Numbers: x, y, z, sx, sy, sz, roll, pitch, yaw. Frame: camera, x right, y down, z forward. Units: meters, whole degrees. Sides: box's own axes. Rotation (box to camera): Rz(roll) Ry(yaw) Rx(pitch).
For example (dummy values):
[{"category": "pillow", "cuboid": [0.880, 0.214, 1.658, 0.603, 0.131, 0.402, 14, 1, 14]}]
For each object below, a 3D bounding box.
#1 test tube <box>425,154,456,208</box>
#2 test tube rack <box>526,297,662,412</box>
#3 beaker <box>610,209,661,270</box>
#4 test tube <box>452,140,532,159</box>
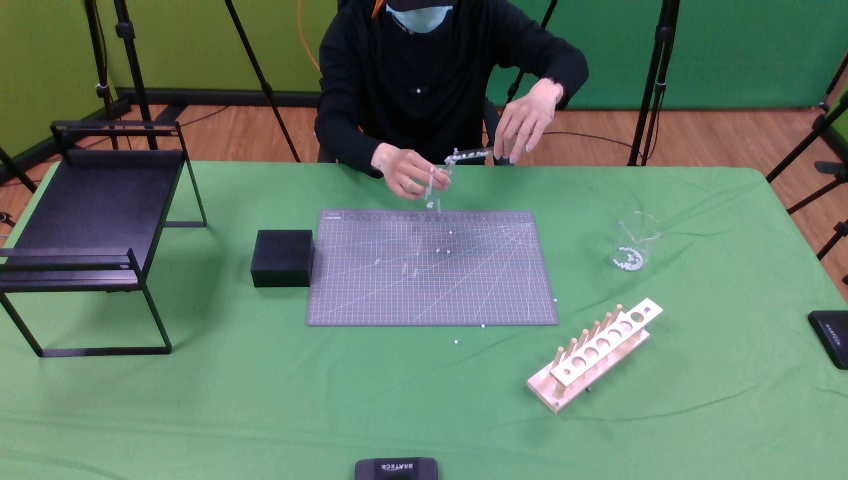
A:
[{"category": "test tube", "cuboid": [0.031, -0.109, 1.161, 0.017, 0.150, 0.017, 11, 53, -14]}, {"category": "test tube rack", "cuboid": [0.284, 0.176, 1.007, 0.242, 0.085, 0.066, -29, 54, -27]}, {"category": "beaker", "cuboid": [0.404, 0.005, 1.170, 0.074, 0.101, 0.083, 20, 49, 15]}, {"category": "test tube", "cuboid": [0.125, -0.165, 1.106, 0.150, 0.017, 0.017, -9, 47, -5]}]
